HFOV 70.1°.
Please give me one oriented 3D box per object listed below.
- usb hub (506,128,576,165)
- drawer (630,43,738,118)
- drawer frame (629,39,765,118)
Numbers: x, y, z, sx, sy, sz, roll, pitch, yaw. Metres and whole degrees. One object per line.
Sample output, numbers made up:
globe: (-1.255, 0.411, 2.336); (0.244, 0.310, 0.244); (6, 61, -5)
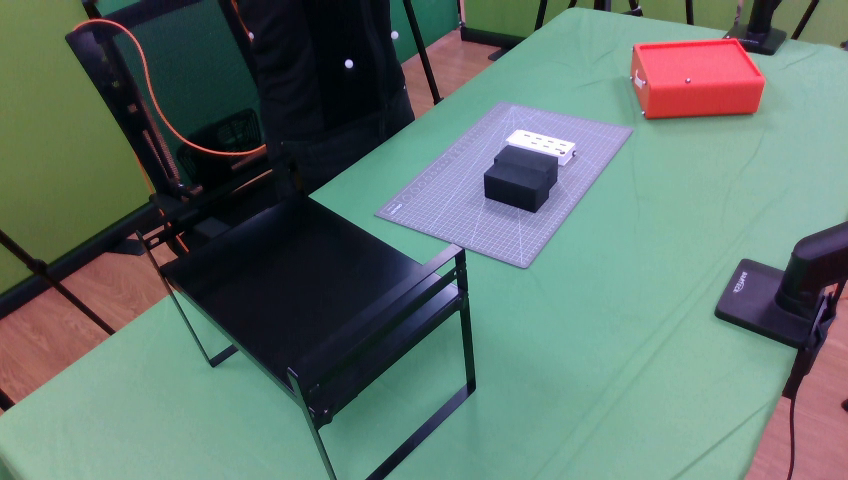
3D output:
usb hub: (0.219, -0.177, 1.142); (0.124, 0.025, 0.049); (21, 49, 30)
drawer: (0.542, -0.330, 1.235); (0.211, 0.073, 0.194); (0, 40, 7)
drawer frame: (0.543, -0.332, 1.234); (0.213, 0.083, 0.201); (-1, 41, 6)
